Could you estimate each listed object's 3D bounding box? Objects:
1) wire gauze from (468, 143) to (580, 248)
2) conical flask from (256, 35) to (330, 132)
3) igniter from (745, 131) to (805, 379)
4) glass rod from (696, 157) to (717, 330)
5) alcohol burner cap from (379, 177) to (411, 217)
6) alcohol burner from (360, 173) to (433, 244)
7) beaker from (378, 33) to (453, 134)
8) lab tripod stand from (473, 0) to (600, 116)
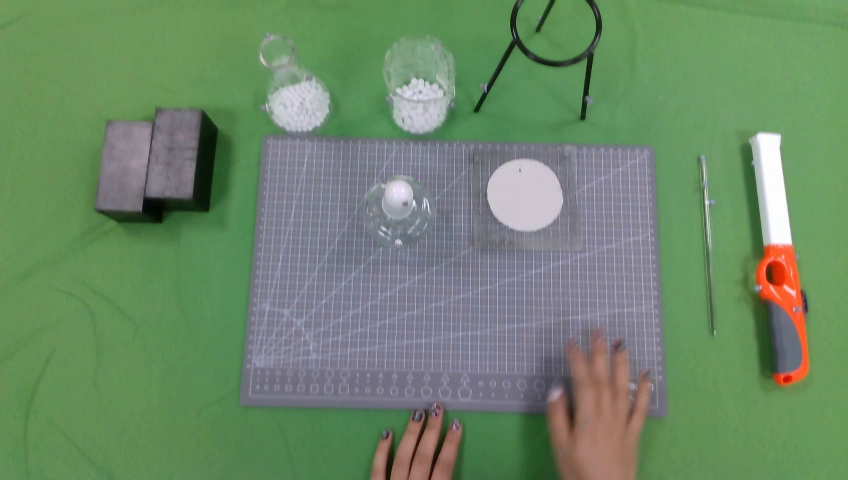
[{"bbox_3d":[0.113,-0.051,0.684,0.125,0.011,0.121,0,79,-3],"label":"wire gauze"},{"bbox_3d":[-0.145,-0.170,0.647,0.075,0.122,0.075,0,78,-1],"label":"conical flask"},{"bbox_3d":[0.386,0.013,0.669,0.057,0.025,0.275,2,79,-11],"label":"igniter"},{"bbox_3d":[0.316,0.001,0.678,0.008,0.008,0.199,1,78,-1],"label":"glass rod"},{"bbox_3d":[-0.027,-0.044,0.589,0.034,0.048,0.033,1,79,-6],"label":"alcohol burner cap"},{"bbox_3d":[-0.029,-0.036,0.624,0.078,0.119,0.077,0,80,-2],"label":"alcohol burner"},{"bbox_3d":[-0.006,-0.164,0.661,0.084,0.100,0.074,37,80,6],"label":"beaker"},{"bbox_3d":[0.124,-0.197,0.652,0.148,0.132,0.148,0,80,0],"label":"lab tripod stand"}]
